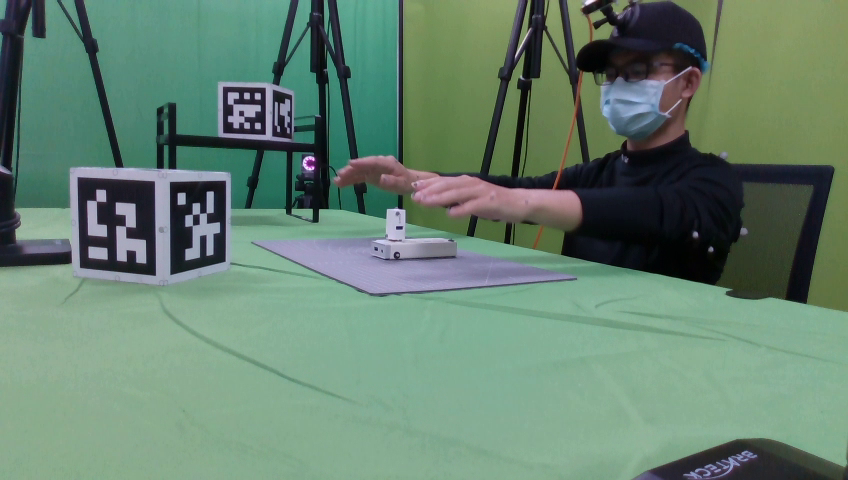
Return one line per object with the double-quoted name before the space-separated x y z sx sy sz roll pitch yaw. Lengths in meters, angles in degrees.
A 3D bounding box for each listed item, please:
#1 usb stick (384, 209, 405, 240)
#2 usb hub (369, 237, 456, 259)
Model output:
"usb stick" -0.044 -0.016 0.892 0.021 0.059 0.027 -1 9 -34
"usb hub" -0.016 0.012 0.909 0.126 0.025 0.049 -2 9 -32
